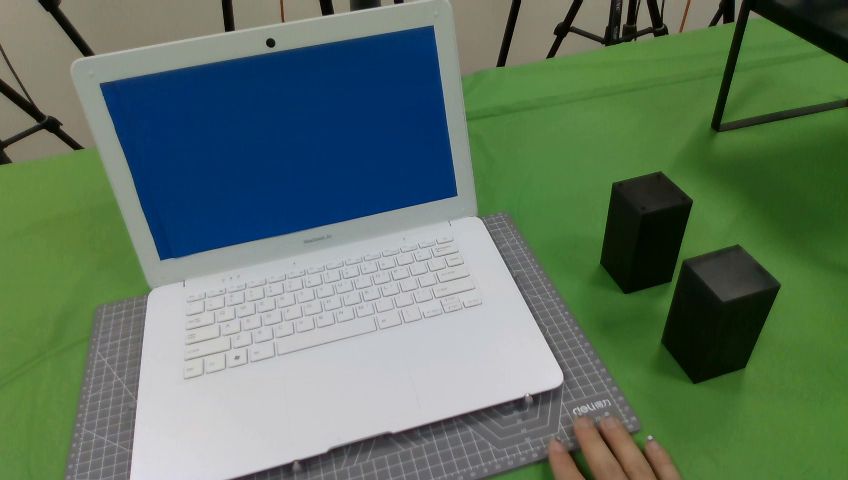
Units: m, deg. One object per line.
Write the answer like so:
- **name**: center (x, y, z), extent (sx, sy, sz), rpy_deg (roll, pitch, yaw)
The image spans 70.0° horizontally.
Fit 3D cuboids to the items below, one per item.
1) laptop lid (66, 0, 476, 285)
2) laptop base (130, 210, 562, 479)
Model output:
- **laptop lid**: center (-0.129, -0.096, 0.602), extent (0.357, 0.243, 0.013), rpy_deg (-15, 24, -8)
- **laptop base**: center (-0.080, 0.084, 0.563), extent (0.355, 0.023, 0.232), rpy_deg (-13, 45, -9)
